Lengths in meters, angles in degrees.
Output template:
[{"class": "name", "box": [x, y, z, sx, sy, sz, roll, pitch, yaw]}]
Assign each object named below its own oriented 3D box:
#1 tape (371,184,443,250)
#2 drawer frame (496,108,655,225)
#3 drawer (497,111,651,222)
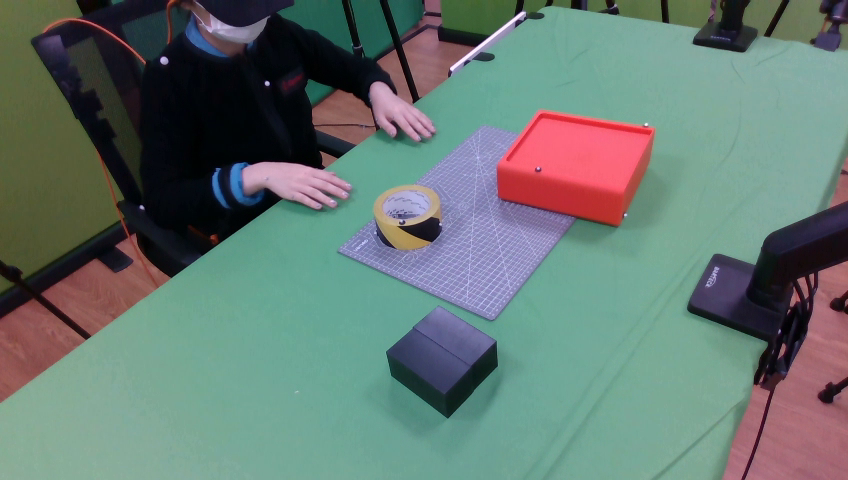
[{"class": "tape", "box": [-0.028, -0.039, 0.990, 0.117, 0.053, 0.116, -4, 40, 4]}, {"class": "drawer frame", "box": [0.259, -0.132, 1.034, 0.212, 0.083, 0.202, 16, 45, 24]}, {"class": "drawer", "box": [0.257, -0.131, 1.034, 0.210, 0.073, 0.195, 16, 45, 24]}]
